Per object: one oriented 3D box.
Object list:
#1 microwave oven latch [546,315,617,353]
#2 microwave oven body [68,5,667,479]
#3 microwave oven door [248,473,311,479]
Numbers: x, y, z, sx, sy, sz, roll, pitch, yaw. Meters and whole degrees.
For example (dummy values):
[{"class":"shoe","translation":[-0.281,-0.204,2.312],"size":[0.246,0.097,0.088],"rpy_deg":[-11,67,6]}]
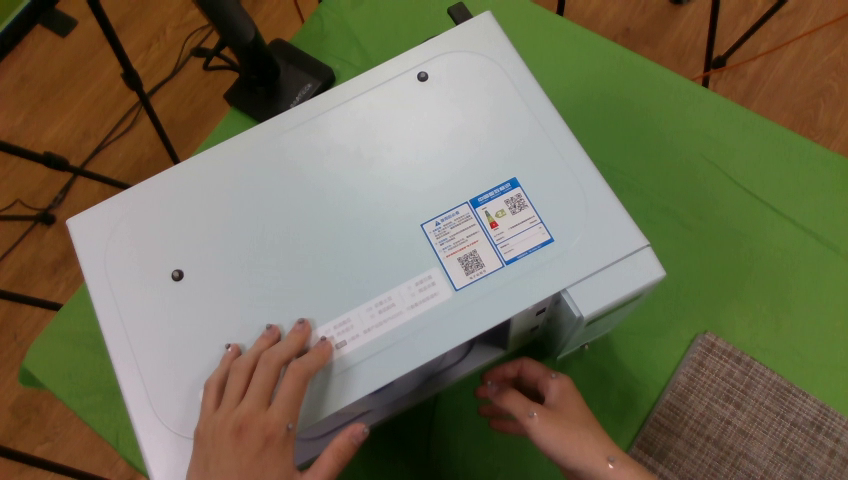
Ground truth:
[{"class":"microwave oven latch","translation":[0.180,0.099,0.688],"size":[0.079,0.030,0.030],"rpy_deg":[-26,71,-3]},{"class":"microwave oven body","translation":[-0.055,0.028,0.632],"size":[0.442,0.262,0.323],"rpy_deg":[-28,71,-3]},{"class":"microwave oven door","translation":[-0.010,0.264,0.543],"size":[0.355,0.245,0.039],"rpy_deg":[7,73,8]}]
